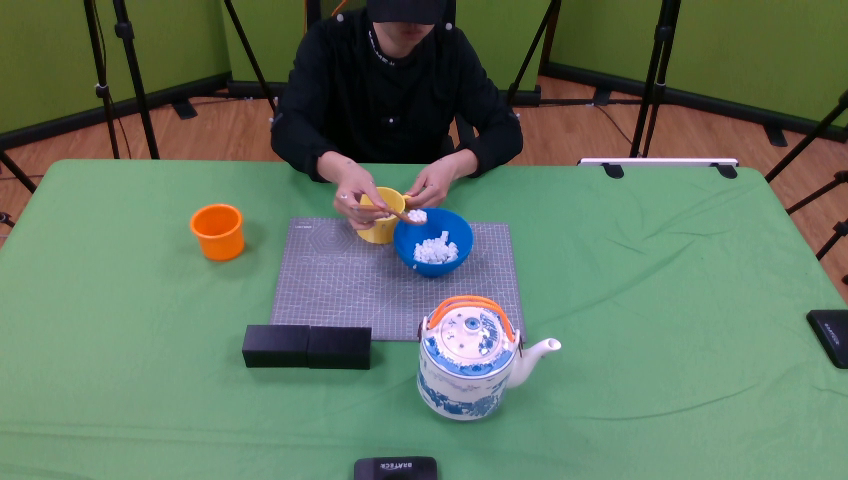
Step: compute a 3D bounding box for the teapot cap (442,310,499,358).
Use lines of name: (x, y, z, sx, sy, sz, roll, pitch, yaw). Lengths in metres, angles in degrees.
teapot cap: (0.068, 0.133, 0.880, 0.085, 0.044, 0.084, 4, 45, -4)

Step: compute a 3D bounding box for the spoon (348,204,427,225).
spoon: (-0.061, -0.047, 1.045, 0.041, 0.021, 0.194, 29, 10, 36)

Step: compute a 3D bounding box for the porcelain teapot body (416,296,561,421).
porcelain teapot body: (0.094, 0.164, 0.907, 0.205, 0.226, 0.144, 6, 45, 1)

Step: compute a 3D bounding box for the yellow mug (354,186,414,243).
yellow mug: (-0.076, -0.056, 1.212, 0.131, 0.064, 0.099, -22, 52, -25)

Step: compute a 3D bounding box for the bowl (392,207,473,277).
bowl: (0.014, 0.016, 1.140, 0.151, 0.077, 0.150, 2, 46, -2)
